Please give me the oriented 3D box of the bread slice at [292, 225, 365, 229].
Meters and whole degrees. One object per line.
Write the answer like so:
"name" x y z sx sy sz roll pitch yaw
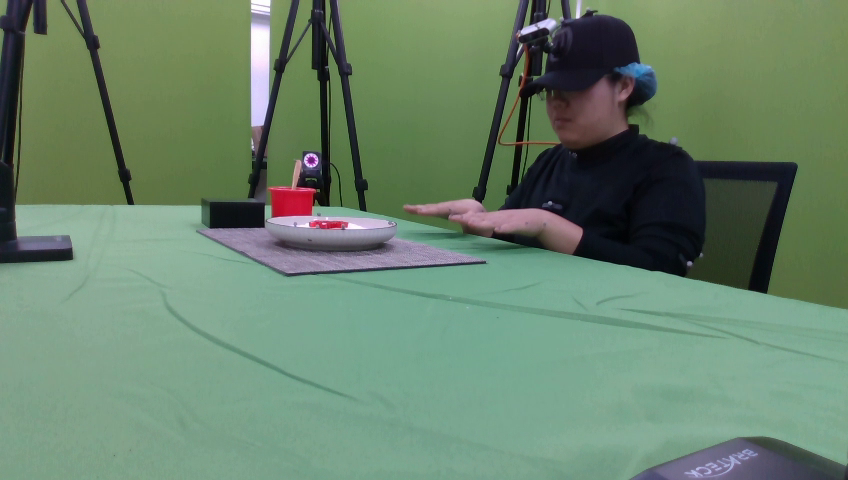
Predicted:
"bread slice" -0.154 -0.012 0.973 0.132 0.019 0.104 -1 7 -31

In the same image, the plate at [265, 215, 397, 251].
"plate" -0.147 -0.012 0.963 0.209 0.038 0.209 3 7 0

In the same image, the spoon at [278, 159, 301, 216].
"spoon" -0.275 -0.108 1.278 0.042 0.021 0.193 3 51 -3
